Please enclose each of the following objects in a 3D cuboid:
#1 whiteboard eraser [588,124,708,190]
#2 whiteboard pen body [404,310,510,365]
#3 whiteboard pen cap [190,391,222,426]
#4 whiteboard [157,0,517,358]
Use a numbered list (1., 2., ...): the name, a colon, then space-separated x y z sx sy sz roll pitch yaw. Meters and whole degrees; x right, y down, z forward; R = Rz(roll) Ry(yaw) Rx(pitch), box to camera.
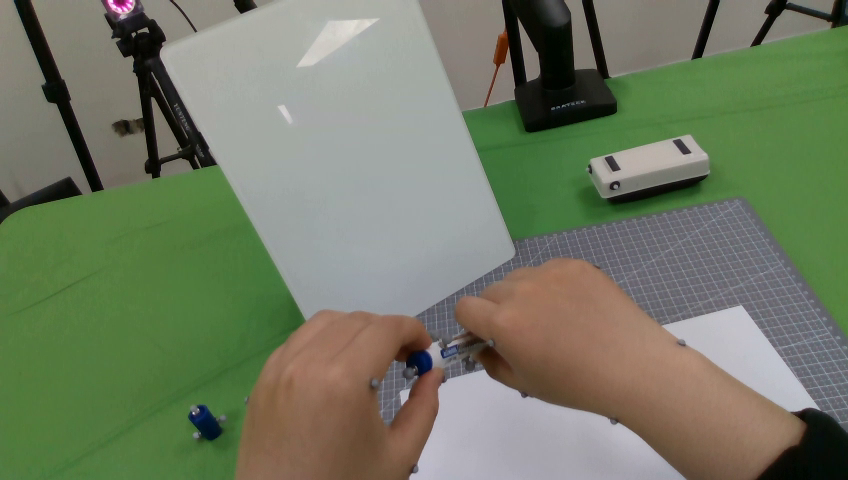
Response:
1. whiteboard eraser: 0.237 -0.086 0.646 0.112 0.042 0.055 -13 42 4
2. whiteboard pen body: 0.028 0.058 0.388 0.017 0.017 0.141 9 7 28
3. whiteboard pen cap: -0.190 0.148 0.528 0.018 0.033 0.018 -8 40 7
4. whiteboard: -0.078 -0.085 0.595 0.217 0.307 0.142 -29 21 -14
